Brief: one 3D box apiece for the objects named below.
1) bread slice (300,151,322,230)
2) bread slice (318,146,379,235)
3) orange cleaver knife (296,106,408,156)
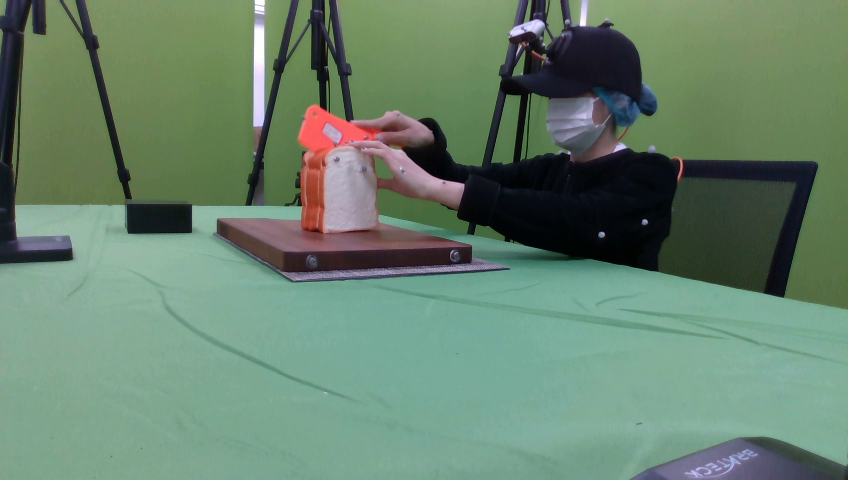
[{"bbox_3d":[-0.150,-0.082,0.963,0.105,0.131,0.019,-3,1,-41],"label":"bread slice"},{"bbox_3d":[-0.118,-0.076,0.923,0.107,0.134,0.018,-10,11,-43],"label":"bread slice"},{"bbox_3d":[-0.112,-0.160,0.984,0.212,0.077,0.012,7,-5,-41],"label":"orange cleaver knife"}]
